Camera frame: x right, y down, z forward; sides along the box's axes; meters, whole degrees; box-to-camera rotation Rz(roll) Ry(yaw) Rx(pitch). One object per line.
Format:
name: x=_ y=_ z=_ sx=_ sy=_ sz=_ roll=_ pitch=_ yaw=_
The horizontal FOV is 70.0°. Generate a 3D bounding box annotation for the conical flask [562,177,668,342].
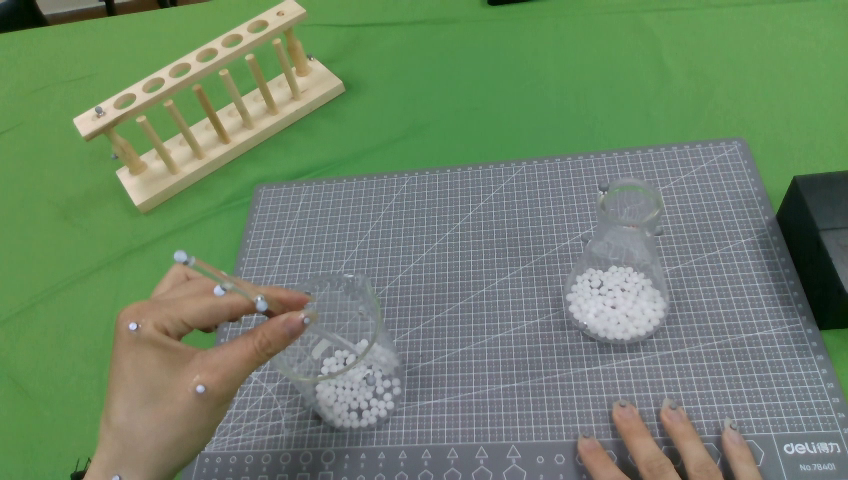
conical flask: x=0.132 y=0.011 z=0.407 sx=0.075 sy=0.123 sz=0.074 roll=-5 pitch=54 yaw=8

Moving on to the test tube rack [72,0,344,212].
test tube rack: x=-0.208 y=-0.139 z=0.611 sx=0.242 sy=0.086 sz=0.066 roll=-36 pitch=55 yaw=-14

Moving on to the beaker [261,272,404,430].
beaker: x=-0.054 y=0.078 z=0.411 sx=0.073 sy=0.101 sz=0.083 roll=21 pitch=60 yaw=24

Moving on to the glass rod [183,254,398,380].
glass rod: x=-0.069 y=0.055 z=0.372 sx=0.008 sy=0.202 sz=0.008 roll=-16 pitch=55 yaw=24
